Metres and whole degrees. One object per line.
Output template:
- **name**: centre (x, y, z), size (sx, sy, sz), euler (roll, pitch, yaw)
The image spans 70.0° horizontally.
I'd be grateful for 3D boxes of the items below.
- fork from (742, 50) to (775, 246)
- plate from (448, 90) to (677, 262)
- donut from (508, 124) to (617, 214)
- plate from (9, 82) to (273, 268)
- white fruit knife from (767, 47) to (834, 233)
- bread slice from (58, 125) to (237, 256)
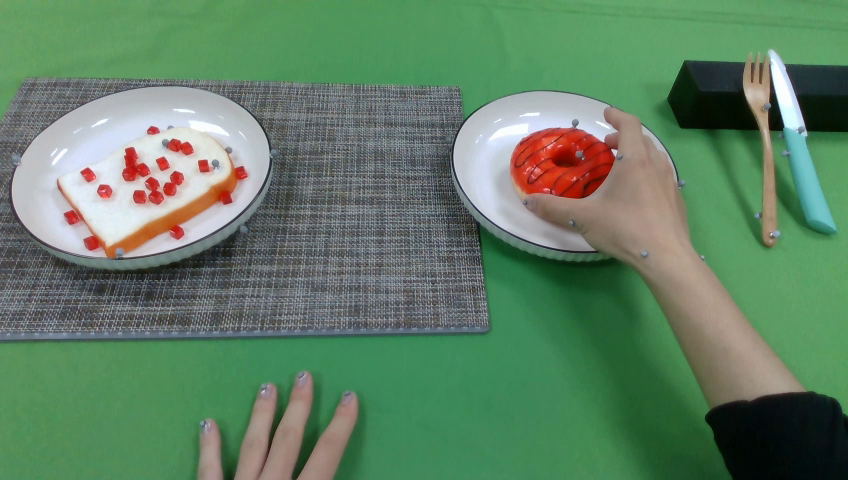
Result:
- **fork**: centre (0.324, -0.093, 0.580), size (0.028, 0.019, 0.206), euler (9, 69, -4)
- **plate**: centre (0.124, -0.059, 0.564), size (0.208, 0.039, 0.205), euler (3, 52, -3)
- **donut**: centre (0.125, -0.066, 0.553), size (0.099, 0.048, 0.098), euler (1, 53, -1)
- **plate**: centre (-0.237, -0.057, 0.526), size (0.209, 0.038, 0.207), euler (2, 53, -3)
- **white fruit knife**: centre (0.364, -0.104, 0.596), size (0.027, 0.016, 0.206), euler (1, 69, -7)
- **bread slice**: centre (-0.234, -0.053, 0.525), size (0.131, 0.019, 0.104), euler (-36, 64, -27)
